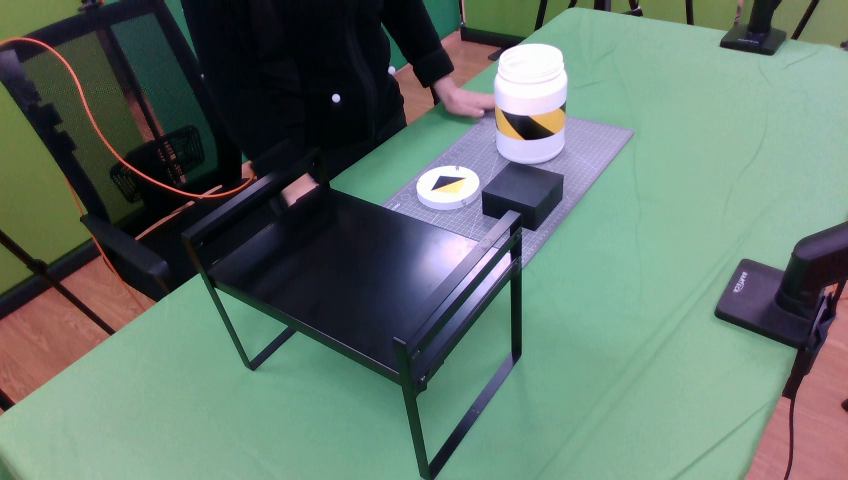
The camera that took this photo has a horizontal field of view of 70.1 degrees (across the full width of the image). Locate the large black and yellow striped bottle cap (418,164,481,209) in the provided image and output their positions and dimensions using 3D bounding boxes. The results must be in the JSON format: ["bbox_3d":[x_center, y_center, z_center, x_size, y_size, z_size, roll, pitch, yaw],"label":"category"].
[{"bbox_3d":[0.045,-0.098,1.084,0.115,0.019,0.114,-4,42,4],"label":"large black and yellow striped bottle cap"}]

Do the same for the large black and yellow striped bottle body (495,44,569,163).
[{"bbox_3d":[0.198,-0.250,1.108,0.131,0.185,0.130,-5,41,4],"label":"large black and yellow striped bottle body"}]
